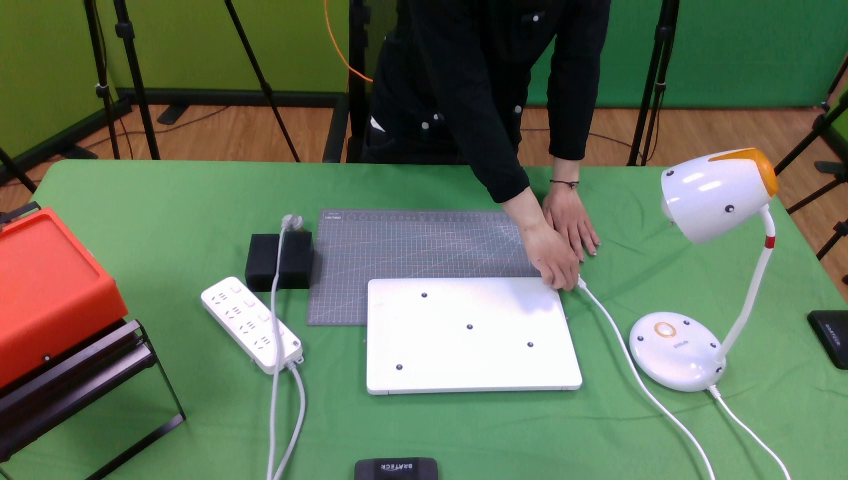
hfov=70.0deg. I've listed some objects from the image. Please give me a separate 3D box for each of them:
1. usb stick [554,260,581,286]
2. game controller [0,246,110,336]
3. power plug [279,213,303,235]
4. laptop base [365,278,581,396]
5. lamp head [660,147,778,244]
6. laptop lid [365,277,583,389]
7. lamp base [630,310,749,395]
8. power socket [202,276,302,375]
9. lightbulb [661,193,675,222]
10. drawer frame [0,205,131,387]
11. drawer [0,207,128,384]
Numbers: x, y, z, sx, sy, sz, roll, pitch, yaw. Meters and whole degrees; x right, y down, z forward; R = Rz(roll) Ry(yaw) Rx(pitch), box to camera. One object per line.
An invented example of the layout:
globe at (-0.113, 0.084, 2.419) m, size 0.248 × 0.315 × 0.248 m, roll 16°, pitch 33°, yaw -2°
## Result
usb stick at (0.272, 0.058, 1.157) m, size 0.021 × 0.027 × 0.059 m, roll -33°, pitch 53°, yaw -14°
game controller at (-0.511, 0.062, 0.830) m, size 0.097 × 0.052 × 0.154 m, roll -30°, pitch 58°, yaw -32°
power plug at (-0.264, -0.022, 1.184) m, size 0.035 × 0.053 × 0.072 m, roll 4°, pitch 48°, yaw 31°
laptop base at (0.077, 0.162, 1.053) m, size 0.355 × 0.023 × 0.234 m, roll 0°, pitch 44°, yaw -4°
lamp head at (0.389, -0.063, 0.784) m, size 0.123 × 0.113 × 0.112 m, roll -22°, pitch 32°, yaw 37°
laptop lid at (0.077, 0.152, 1.046) m, size 0.357 × 0.013 × 0.240 m, roll 1°, pitch 45°, yaw -3°
lamp base at (0.447, 0.142, 0.984) m, size 0.161 × 0.181 × 0.178 m, roll -24°, pitch 55°, yaw -24°
power socket at (-0.296, 0.142, 1.033) m, size 0.072 × 0.033 × 0.225 m, roll -34°, pitch 58°, yaw -31°
lightbulb at (0.367, -0.060, 0.806) m, size 0.060 × 0.107 × 0.059 m, roll 16°, pitch 62°, yaw -33°
drawer frame at (-0.540, 0.075, 0.795) m, size 0.200 × 0.083 × 0.213 m, roll 36°, pitch 54°, yaw 26°
drawer at (-0.540, 0.074, 0.798) m, size 0.193 × 0.073 × 0.211 m, roll 37°, pitch 55°, yaw 27°
